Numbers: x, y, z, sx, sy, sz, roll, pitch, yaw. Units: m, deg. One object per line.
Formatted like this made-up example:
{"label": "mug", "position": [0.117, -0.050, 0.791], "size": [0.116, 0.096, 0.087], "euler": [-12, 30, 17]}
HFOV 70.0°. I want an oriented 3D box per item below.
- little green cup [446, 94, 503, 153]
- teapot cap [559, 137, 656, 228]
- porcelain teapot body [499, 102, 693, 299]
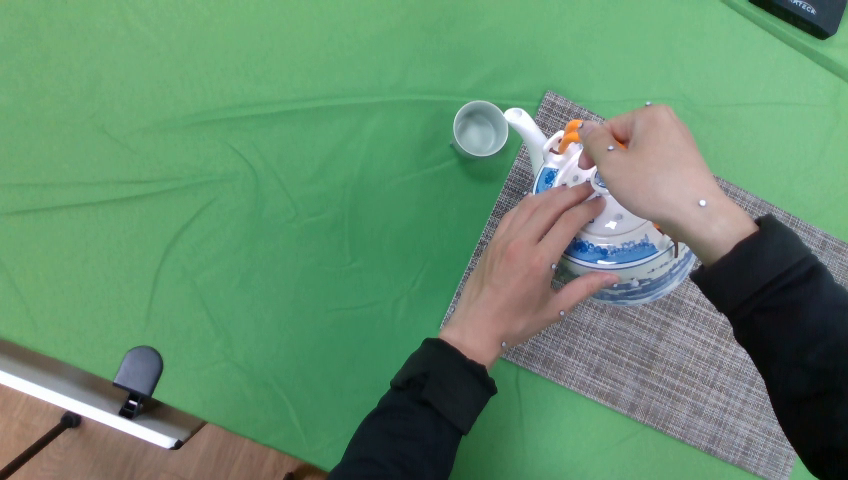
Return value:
{"label": "little green cup", "position": [0.053, -0.126, 0.668], "size": [0.062, 0.038, 0.061], "euler": [1, 86, -8]}
{"label": "teapot cap", "position": [0.157, -0.052, 0.524], "size": [0.085, 0.044, 0.084], "euler": [-8, 67, 20]}
{"label": "porcelain teapot body", "position": [0.151, -0.054, 0.574], "size": [0.145, 0.227, 0.203], "euler": [-48, 60, 0]}
